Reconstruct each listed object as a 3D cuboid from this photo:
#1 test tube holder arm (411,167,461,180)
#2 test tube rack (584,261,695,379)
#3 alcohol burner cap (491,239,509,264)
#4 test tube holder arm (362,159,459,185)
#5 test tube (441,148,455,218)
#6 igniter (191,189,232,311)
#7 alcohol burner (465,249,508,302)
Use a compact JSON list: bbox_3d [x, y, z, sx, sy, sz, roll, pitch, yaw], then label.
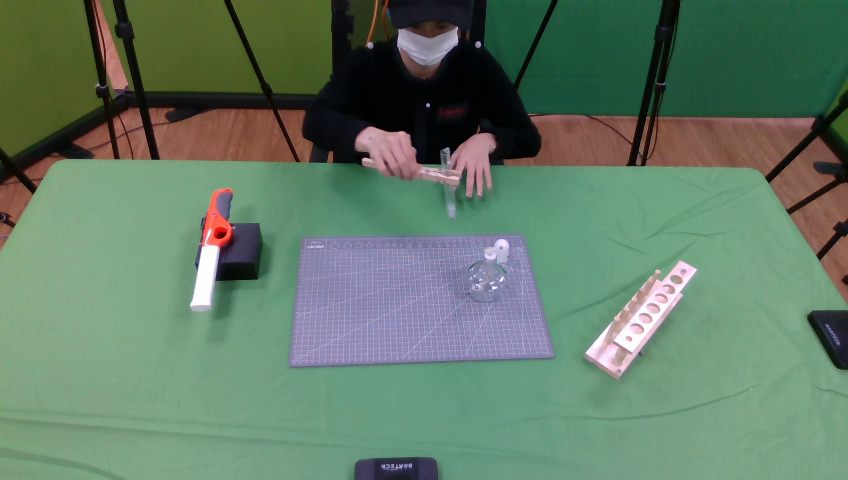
[{"bbox_3d":[0.020,-0.115,1.039,0.088,0.015,0.010,6,44,9],"label":"test tube holder arm"},{"bbox_3d":[0.380,0.127,1.062,0.066,0.085,0.242,34,53,26],"label":"test tube rack"},{"bbox_3d":[0.150,0.020,1.174,0.034,0.048,0.033,2,46,-2],"label":"alcohol burner cap"},{"bbox_3d":[-0.025,-0.118,1.045,0.178,0.015,0.013,11,45,15],"label":"test tube holder arm"},{"bbox_3d":[0.042,-0.094,1.046,0.017,0.151,0.017,-4,45,4],"label":"test tube"},{"bbox_3d":[-0.381,0.008,1.092,0.057,0.025,0.274,-1,50,-7],"label":"igniter"},{"bbox_3d":[0.114,0.057,1.085,0.078,0.120,0.077,2,48,-2],"label":"alcohol burner"}]
